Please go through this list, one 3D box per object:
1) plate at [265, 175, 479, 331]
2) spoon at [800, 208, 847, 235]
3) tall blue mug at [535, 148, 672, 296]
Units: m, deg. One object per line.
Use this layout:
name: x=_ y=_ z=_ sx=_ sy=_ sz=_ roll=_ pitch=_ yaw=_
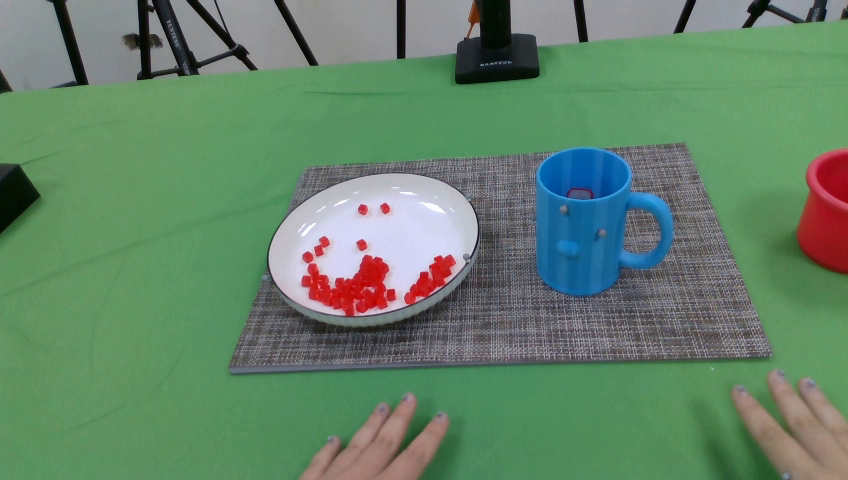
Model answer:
plate: x=-0.048 y=0.012 z=0.593 sx=0.207 sy=0.039 sz=0.205 roll=-5 pitch=41 yaw=5
spoon: x=0.403 y=-0.036 z=0.486 sx=0.041 sy=0.193 sz=0.021 roll=-37 pitch=93 yaw=-33
tall blue mug: x=0.152 y=-0.016 z=0.531 sx=0.107 sy=0.109 sz=0.077 roll=-7 pitch=41 yaw=3
